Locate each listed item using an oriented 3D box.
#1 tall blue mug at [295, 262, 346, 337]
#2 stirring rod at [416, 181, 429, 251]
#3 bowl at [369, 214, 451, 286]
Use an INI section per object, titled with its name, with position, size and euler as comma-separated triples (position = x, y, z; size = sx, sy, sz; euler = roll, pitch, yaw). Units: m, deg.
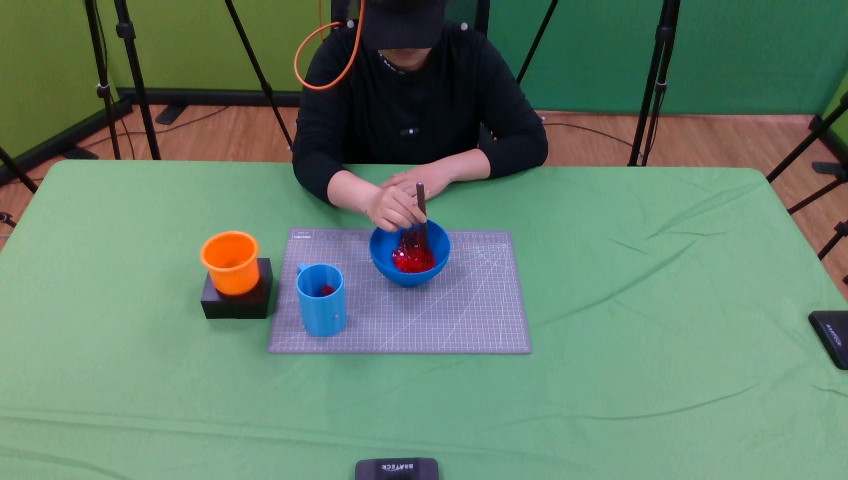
[tall blue mug]
position = -0.187, 0.096, 1.027
size = 0.107, 0.108, 0.077
euler = 21, 49, 16
[stirring rod]
position = -0.002, -0.039, 1.073
size = 0.014, 0.177, 0.006
euler = 14, 52, 16
[bowl]
position = -0.027, 0.031, 1.122
size = 0.151, 0.077, 0.150
euler = 2, 46, -2
